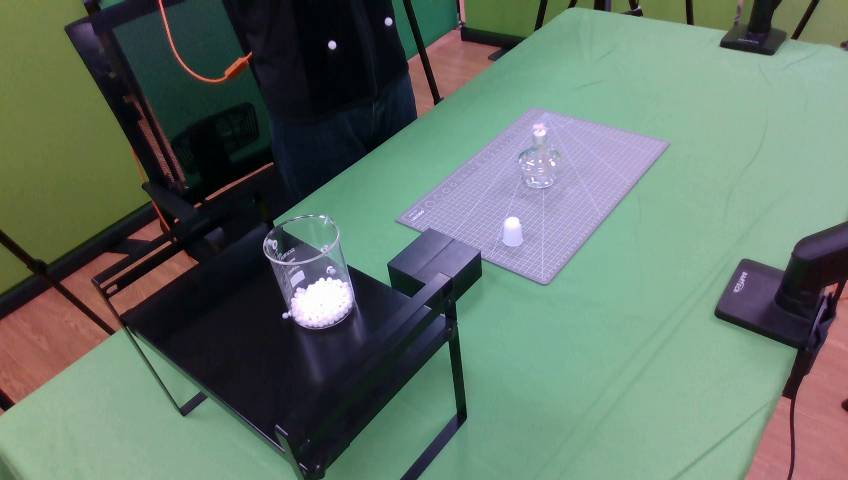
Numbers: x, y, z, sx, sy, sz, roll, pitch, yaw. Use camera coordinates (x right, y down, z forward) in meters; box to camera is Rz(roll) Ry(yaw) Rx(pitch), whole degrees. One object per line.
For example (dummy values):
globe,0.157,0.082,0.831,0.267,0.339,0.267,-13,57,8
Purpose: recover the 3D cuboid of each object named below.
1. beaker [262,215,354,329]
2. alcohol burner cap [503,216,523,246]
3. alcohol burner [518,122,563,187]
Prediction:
beaker,-0.112,0.034,0.616,0.073,0.101,0.084,13,44,23
alcohol burner cap,0.140,-0.017,0.954,0.034,0.048,0.033,-4,42,4
alcohol burner,0.201,-0.151,1.046,0.078,0.119,0.077,-6,42,6
